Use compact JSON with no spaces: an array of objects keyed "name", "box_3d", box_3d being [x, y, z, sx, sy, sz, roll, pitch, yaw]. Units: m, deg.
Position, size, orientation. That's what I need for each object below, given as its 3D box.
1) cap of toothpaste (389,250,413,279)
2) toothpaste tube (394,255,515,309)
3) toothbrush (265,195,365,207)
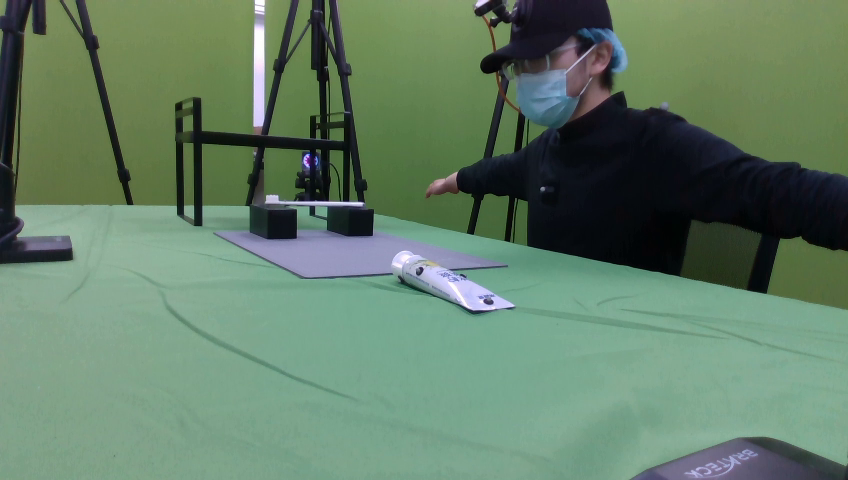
[{"name":"cap of toothpaste","box_3d":[-0.023,0.030,0.700,0.037,0.037,0.011,-3,13,-36]},{"name":"toothpaste tube","box_3d":[0.020,0.046,0.636,0.055,0.034,0.164,-7,15,-35]},{"name":"toothbrush","box_3d":[-0.192,-0.068,1.082,0.183,0.016,0.014,1,-8,-26]}]
